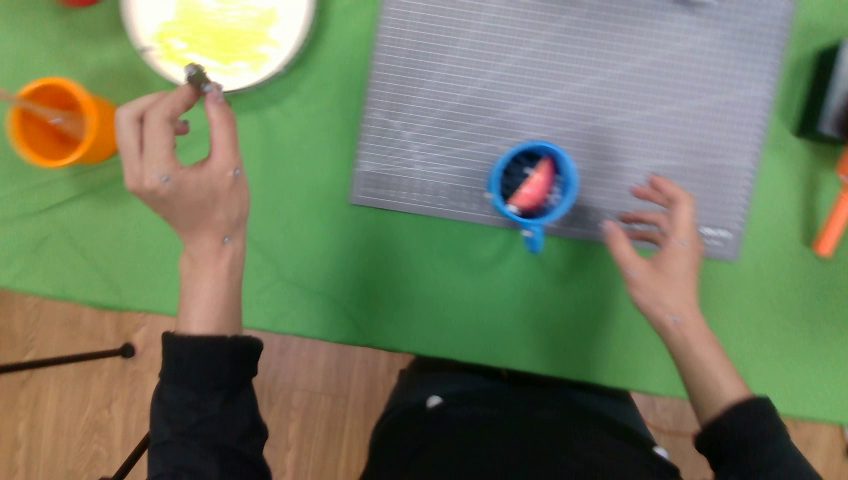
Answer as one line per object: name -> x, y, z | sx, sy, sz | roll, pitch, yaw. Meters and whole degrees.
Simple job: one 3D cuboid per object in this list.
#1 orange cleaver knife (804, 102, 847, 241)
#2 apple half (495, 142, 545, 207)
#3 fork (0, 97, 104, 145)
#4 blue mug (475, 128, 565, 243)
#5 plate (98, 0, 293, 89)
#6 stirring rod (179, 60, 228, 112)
orange cleaver knife -> 0.446, -0.100, 0.641 | 0.012, 0.077, 0.213 | 10, 123, 9
apple half -> 0.106, -0.063, 0.631 | 0.033, 0.081, 0.081 | 39, 95, 5
fork -> -0.437, -0.144, 0.616 | 0.209, 0.018, 0.028 | 21, 96, -45
blue mug -> 0.099, -0.055, 0.637 | 0.082, 0.105, 0.116 | -7, 96, 2
plate -> -0.243, -0.268, 0.656 | 0.209, 0.038, 0.209 | 0, 97, 1
stirring rod -> -0.167, -0.116, 0.468 | 0.006, 0.175, 0.014 | 12, 93, -11
